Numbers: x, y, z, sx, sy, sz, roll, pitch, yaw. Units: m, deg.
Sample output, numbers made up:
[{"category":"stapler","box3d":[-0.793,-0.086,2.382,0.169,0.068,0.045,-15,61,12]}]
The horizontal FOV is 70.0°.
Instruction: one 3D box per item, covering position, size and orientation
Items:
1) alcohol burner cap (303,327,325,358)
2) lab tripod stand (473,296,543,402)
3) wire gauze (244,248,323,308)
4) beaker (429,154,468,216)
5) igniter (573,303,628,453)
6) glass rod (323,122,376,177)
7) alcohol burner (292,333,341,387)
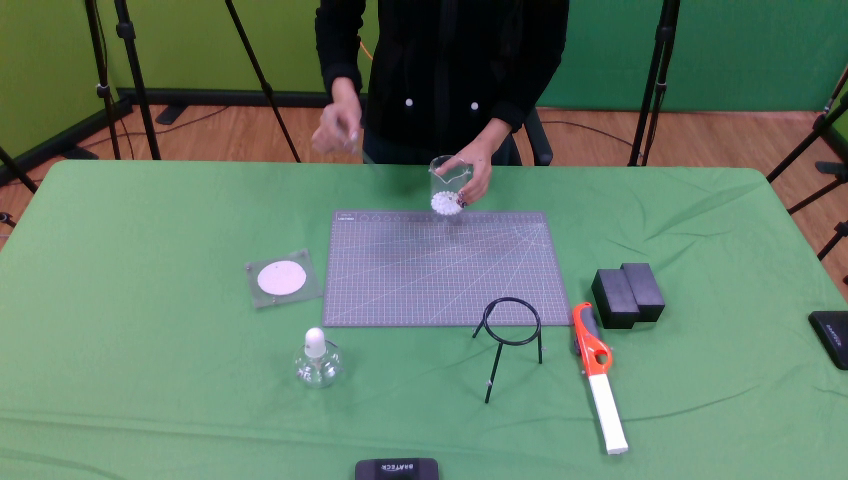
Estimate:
[{"category":"alcohol burner cap","box3d":[-0.169,0.154,0.925,0.034,0.048,0.033,4,41,-3]},{"category":"lab tripod stand","box3d":[0.132,0.168,0.969,0.148,0.132,0.147,3,48,-3]},{"category":"wire gauze","box3d":[-0.262,0.071,1.121,0.125,0.011,0.120,-11,48,-17]},{"category":"beaker","box3d":[0.047,-0.103,1.175,0.074,0.101,0.083,5,44,5]},{"category":"igniter","box3d":[0.288,0.216,1.006,0.057,0.025,0.274,-9,46,8]},{"category":"glass rod","box3d":[-0.129,-0.157,1.075,0.008,0.201,0.008,-7,68,19]},{"category":"alcohol burner","box3d":[-0.170,0.179,0.950,0.078,0.120,0.077,2,48,-2]}]
